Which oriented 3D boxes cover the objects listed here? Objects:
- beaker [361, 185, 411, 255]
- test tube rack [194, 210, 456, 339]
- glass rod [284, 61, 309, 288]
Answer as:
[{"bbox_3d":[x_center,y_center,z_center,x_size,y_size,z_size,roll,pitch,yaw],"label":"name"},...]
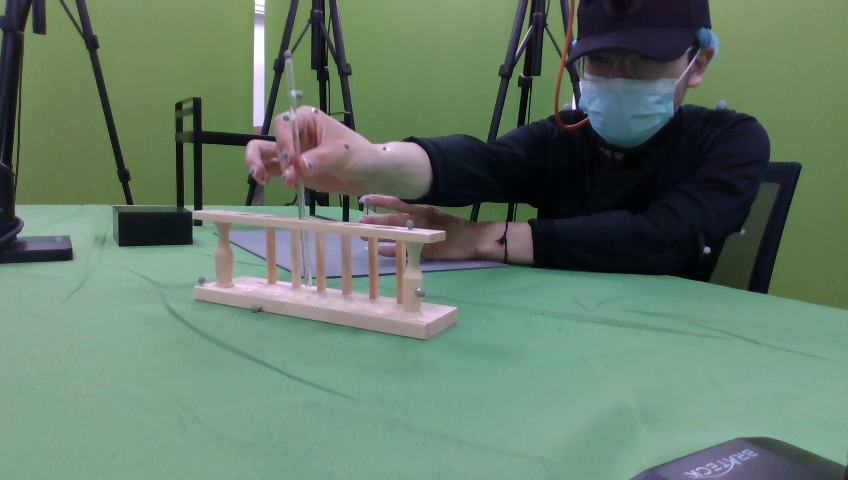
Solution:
[{"bbox_3d":[-0.056,-0.031,0.906,0.074,0.100,0.083,-1,8,-22],"label":"beaker"},{"bbox_3d":[-0.093,0.023,0.546,0.241,0.085,0.067,6,8,25],"label":"test tube rack"},{"bbox_3d":[-0.112,-0.056,0.533,0.008,0.199,0.008,-4,4,1],"label":"glass rod"}]
